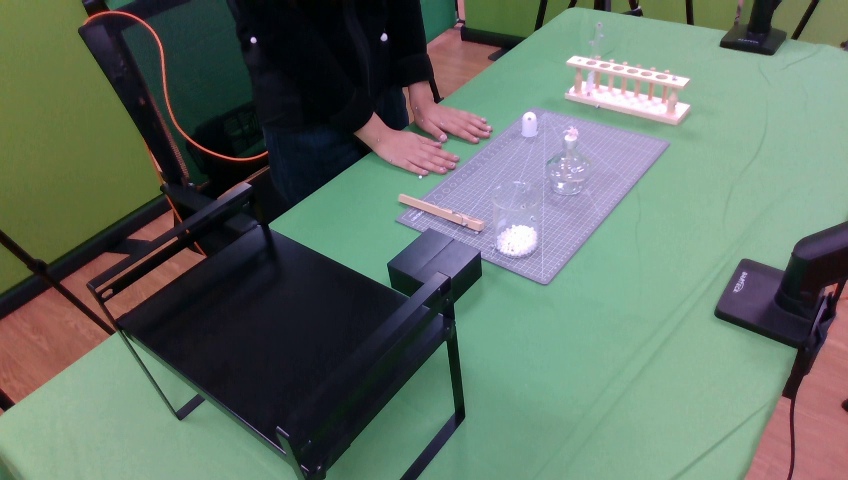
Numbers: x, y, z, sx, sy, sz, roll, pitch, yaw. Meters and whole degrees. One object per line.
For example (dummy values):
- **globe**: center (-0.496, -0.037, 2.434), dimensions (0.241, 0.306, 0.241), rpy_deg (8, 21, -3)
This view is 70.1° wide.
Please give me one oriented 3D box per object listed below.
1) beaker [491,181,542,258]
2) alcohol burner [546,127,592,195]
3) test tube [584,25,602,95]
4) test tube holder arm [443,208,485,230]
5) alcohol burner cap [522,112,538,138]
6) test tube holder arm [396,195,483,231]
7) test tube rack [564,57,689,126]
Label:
- **beaker**: center (0.144, -0.030, 0.925), dimensions (0.073, 0.101, 0.084), rpy_deg (23, 48, 31)
- **alcohol burner**: center (0.246, -0.137, 1.024), dimensions (0.078, 0.119, 0.077), rpy_deg (-4, 38, 4)
- **test tube**: center (0.342, -0.362, 1.226), dimensions (0.017, 0.151, 0.017), rpy_deg (-2, 44, 2)
- **test tube holder arm**: center (0.062, -0.035, 1.007), dimensions (0.087, 0.015, 0.010), rpy_deg (21, 16, 32)
- **alcohol burner cap**: center (0.210, -0.230, 1.195), dimensions (0.034, 0.048, 0.033), rpy_deg (-5, 42, 5)
- **test tube holder arm**: center (0.023, -0.048, 1.025), dimensions (0.177, 0.015, 0.013), rpy_deg (21, 16, 30)
- **test tube rack**: center (0.411, -0.311, 1.231), dimensions (0.240, 0.085, 0.067), rpy_deg (23, 49, 32)
